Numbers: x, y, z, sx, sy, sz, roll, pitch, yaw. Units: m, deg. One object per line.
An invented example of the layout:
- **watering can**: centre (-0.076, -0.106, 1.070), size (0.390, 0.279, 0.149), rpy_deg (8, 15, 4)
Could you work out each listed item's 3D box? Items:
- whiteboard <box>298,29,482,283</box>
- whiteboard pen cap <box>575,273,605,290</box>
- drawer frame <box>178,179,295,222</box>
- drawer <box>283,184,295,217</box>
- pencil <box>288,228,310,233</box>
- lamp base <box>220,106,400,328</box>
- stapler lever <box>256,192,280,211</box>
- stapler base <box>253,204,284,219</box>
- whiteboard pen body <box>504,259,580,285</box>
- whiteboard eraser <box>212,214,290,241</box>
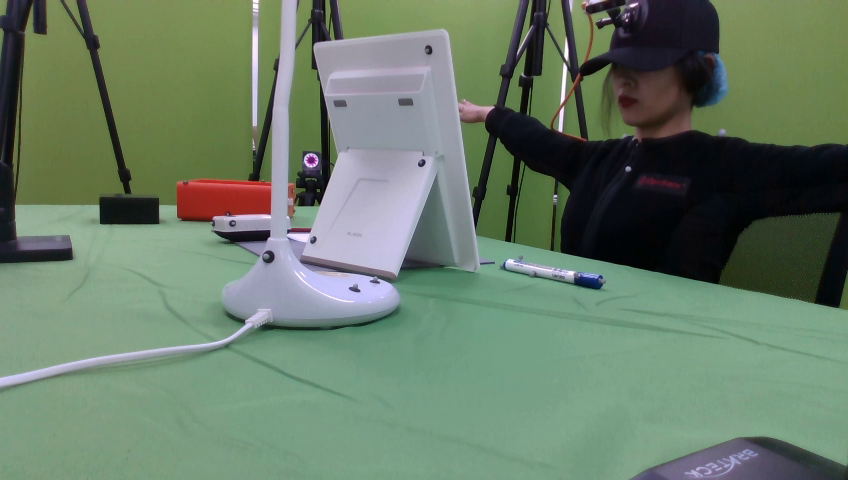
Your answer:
- **whiteboard**: centre (-0.075, -0.082, 0.742), size (0.216, 0.305, 0.144), rpy_deg (9, 29, 37)
- **whiteboard pen cap**: centre (0.197, 0.047, 0.719), size (0.018, 0.018, 0.033), rpy_deg (-4, 11, -41)
- **drawer frame**: centre (-0.397, -0.088, 1.315), size (0.214, 0.082, 0.201), rpy_deg (1, 8, -7)
- **drawer**: centre (-0.394, -0.086, 1.317), size (0.212, 0.073, 0.194), rpy_deg (1, 8, -7)
- **pencil**: centre (-0.239, -0.017, 1.093), size (0.195, 0.012, 0.012), rpy_deg (1, 7, -27)
- **lamp base**: centre (-0.101, -0.023, 0.531), size (0.160, 0.180, 0.179), rpy_deg (4, 10, 10)
- **stapler lever**: centre (-0.337, -0.088, 1.305), size (0.027, 0.040, 0.118), rpy_deg (2, 11, -2)
- **stapler base**: centre (-0.336, -0.065, 1.308), size (0.041, 0.024, 0.130), rpy_deg (2, 9, -2)
- **whiteboard pen body**: centre (0.157, 0.042, 0.764), size (0.017, 0.017, 0.140), rpy_deg (-4, 10, -41)
- **whiteboard eraser**: centre (-0.278, -0.021, 0.976), size (0.113, 0.042, 0.055), rpy_deg (-3, 11, -40)
